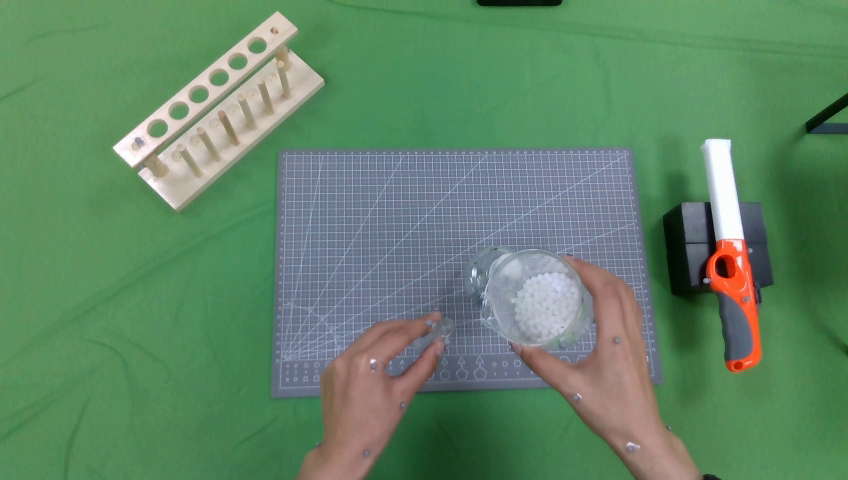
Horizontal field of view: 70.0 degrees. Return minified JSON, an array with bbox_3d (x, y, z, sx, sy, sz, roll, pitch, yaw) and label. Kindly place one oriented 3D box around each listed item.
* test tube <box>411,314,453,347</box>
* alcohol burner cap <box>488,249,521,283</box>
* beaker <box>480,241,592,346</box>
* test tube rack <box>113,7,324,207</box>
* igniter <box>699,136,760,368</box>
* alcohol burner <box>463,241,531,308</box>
[{"bbox_3d":[0.005,0.085,0.559,0.017,0.150,0.017,2,75,-8],"label":"test tube"},{"bbox_3d":[0.087,0.026,0.636,0.034,0.048,0.033,0,78,-1],"label":"alcohol burner cap"},{"bbox_3d":[0.095,0.050,0.495,0.084,0.101,0.073,-27,70,14],"label":"beaker"},{"bbox_3d":[-0.231,-0.155,0.713,0.066,0.085,0.242,43,76,8],"label":"test tube rack"},{"bbox_3d":[0.349,0.008,0.697,0.057,0.025,0.275,2,73,-2],"label":"igniter"},{"bbox_3d":[0.085,0.035,0.671,0.078,0.119,0.077,2,73,-5],"label":"alcohol burner"}]
